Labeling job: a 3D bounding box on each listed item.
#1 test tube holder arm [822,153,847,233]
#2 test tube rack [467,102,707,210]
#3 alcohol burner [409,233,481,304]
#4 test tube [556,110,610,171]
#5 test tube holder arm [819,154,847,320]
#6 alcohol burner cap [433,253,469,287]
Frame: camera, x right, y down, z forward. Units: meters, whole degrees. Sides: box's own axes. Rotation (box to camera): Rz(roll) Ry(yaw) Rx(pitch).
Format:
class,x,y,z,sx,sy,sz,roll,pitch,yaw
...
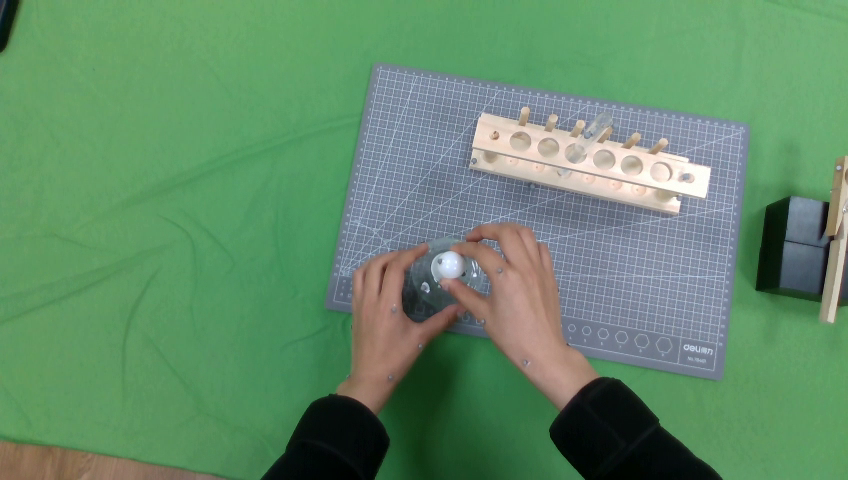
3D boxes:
class,x,y,z,sx,sy,sz,roll,pitch,yaw
test tube holder arm,0.436,-0.049,0.643,0.010,0.015,0.087,11,83,-5
test tube rack,0.173,-0.099,0.664,0.242,0.085,0.066,13,83,2
alcohol burner,0.023,0.028,0.633,0.078,0.119,0.077,0,81,-1
test tube,0.157,-0.097,0.613,0.017,0.150,0.017,0,80,-1
test tube holder arm,0.434,-0.004,0.638,0.013,0.015,0.178,10,83,-5
alcohol burner cap,0.025,0.028,0.591,0.034,0.048,0.033,-2,81,15
